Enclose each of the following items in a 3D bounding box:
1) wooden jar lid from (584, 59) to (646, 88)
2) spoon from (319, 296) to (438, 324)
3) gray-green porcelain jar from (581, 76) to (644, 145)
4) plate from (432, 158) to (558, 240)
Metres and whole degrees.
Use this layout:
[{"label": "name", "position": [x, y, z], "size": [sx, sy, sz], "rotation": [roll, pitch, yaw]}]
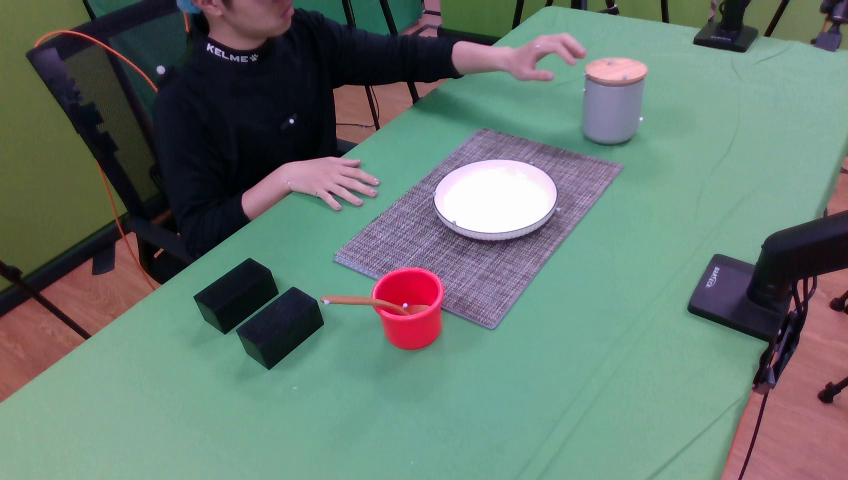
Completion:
[{"label": "wooden jar lid", "position": [0.343, -0.298, 1.089], "size": [0.108, 0.021, 0.108], "rotation": [-3, 38, 3]}, {"label": "spoon", "position": [-0.055, 0.086, 0.784], "size": [0.195, 0.021, 0.041], "rotation": [19, 19, -44]}, {"label": "gray-green porcelain jar", "position": [0.350, -0.251, 1.132], "size": [0.106, 0.127, 0.105], "rotation": [-4, 41, 4]}, {"label": "plate", "position": [0.118, -0.066, 1.013], "size": [0.207, 0.039, 0.206], "rotation": [-4, 41, 4]}]
